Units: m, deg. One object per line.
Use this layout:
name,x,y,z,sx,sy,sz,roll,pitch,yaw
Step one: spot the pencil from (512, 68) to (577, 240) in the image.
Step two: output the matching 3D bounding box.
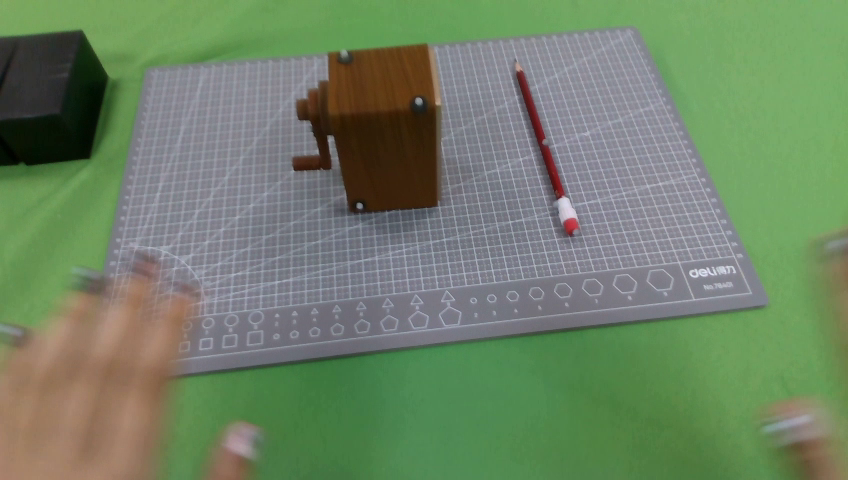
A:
pencil,0.092,-0.078,0.488,0.012,0.012,0.192,-7,54,-4

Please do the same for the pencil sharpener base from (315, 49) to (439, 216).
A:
pencil sharpener base,-0.030,-0.071,0.424,0.077,0.108,0.061,-5,56,-2

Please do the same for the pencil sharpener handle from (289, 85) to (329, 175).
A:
pencil sharpener handle,-0.081,-0.071,0.410,0.031,0.068,0.035,-5,46,-2
